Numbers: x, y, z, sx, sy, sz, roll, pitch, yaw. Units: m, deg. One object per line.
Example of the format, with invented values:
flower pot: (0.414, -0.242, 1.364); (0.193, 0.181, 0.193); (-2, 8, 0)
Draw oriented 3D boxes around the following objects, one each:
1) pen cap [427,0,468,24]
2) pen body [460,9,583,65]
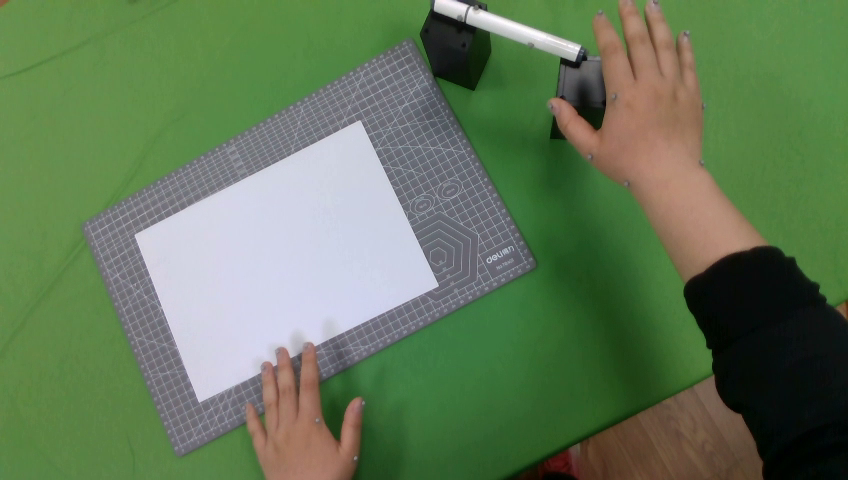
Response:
pen cap: (0.022, -0.219, 0.578); (0.038, 0.017, 0.017); (23, 87, 11)
pen body: (0.079, -0.195, 0.568); (0.144, 0.017, 0.017); (24, 87, 9)
